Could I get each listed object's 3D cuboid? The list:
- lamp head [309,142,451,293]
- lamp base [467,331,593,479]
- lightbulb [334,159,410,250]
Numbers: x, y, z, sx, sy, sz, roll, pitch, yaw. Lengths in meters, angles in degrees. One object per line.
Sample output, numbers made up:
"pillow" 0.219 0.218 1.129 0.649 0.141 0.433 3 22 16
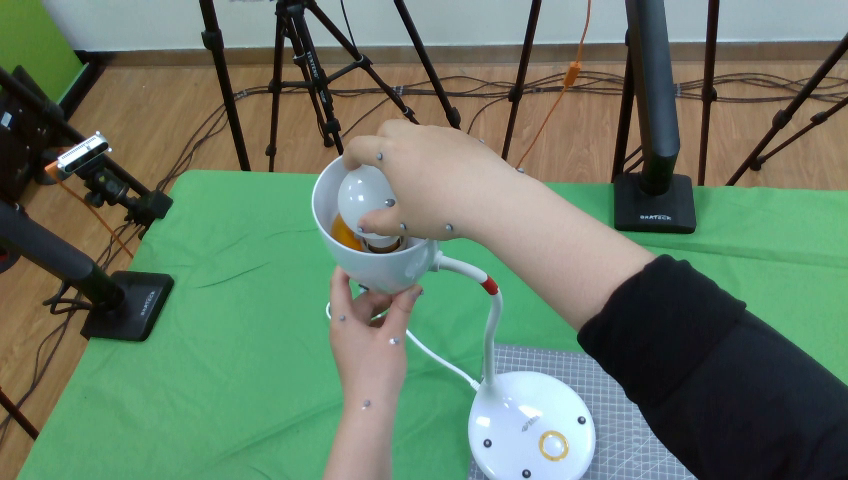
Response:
"lamp head" -0.031 -0.006 0.526 0.112 0.124 0.111 -3 57 5
"lamp base" 0.114 0.187 0.721 0.177 0.182 0.160 27 61 29
"lightbulb" -0.039 -0.022 0.497 0.059 0.108 0.059 -1 60 3
